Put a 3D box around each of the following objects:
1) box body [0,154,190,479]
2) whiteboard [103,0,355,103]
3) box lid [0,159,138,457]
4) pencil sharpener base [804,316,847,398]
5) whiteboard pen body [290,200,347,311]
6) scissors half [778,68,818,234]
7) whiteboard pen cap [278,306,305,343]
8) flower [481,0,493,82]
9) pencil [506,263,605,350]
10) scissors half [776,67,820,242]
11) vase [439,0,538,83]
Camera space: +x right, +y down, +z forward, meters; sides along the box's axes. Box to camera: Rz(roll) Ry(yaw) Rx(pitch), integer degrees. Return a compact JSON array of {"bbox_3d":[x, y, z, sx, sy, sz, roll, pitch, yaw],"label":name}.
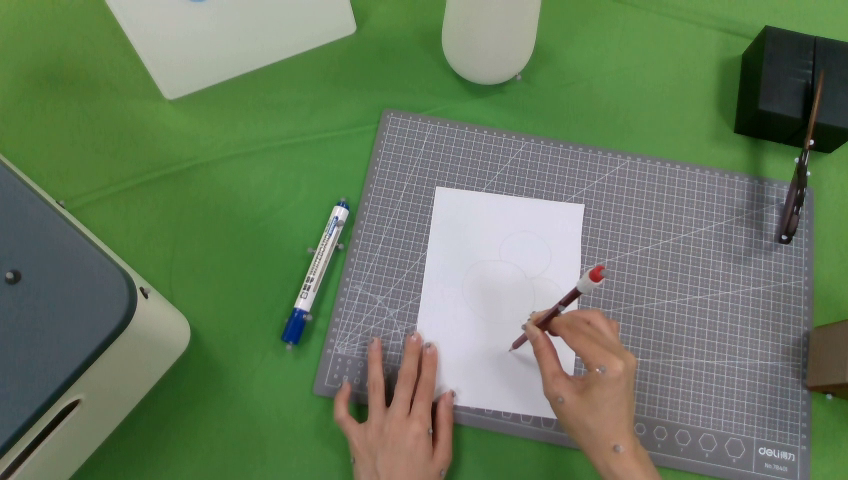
[{"bbox_3d":[-0.413,0.047,0.493,0.363,0.161,0.253,37,76,10],"label":"box body"},{"bbox_3d":[-0.218,-0.324,0.567,0.217,0.308,0.142,-22,55,-7],"label":"whiteboard"},{"bbox_3d":[-0.413,0.023,0.422,0.370,0.015,0.263,37,76,10],"label":"box lid"},{"bbox_3d":[0.394,0.102,0.517,0.077,0.107,0.061,15,72,1],"label":"pencil sharpener base"},{"bbox_3d":[-0.104,0.025,0.580,0.017,0.017,0.140,18,72,5],"label":"whiteboard pen body"},{"bbox_3d":[0.358,-0.088,0.572,0.013,0.040,0.174,13,74,23],"label":"scissors half"},{"bbox_3d":[-0.121,0.078,0.561,0.018,0.018,0.033,17,69,5],"label":"whiteboard pen cap"},{"bbox_3d":[0.060,-0.275,0.494,0.044,0.365,0.038,4,55,4],"label":"flower"},{"bbox_3d":[0.095,0.060,0.479,0.012,0.195,0.012,5,64,-10],"label":"pencil"},{"bbox_3d":[0.366,-0.083,0.590,0.012,0.040,0.175,13,92,28],"label":"scissors half"},{"bbox_3d":[0.064,-0.236,0.569,0.098,0.201,0.097,0,71,0],"label":"vase"}]
